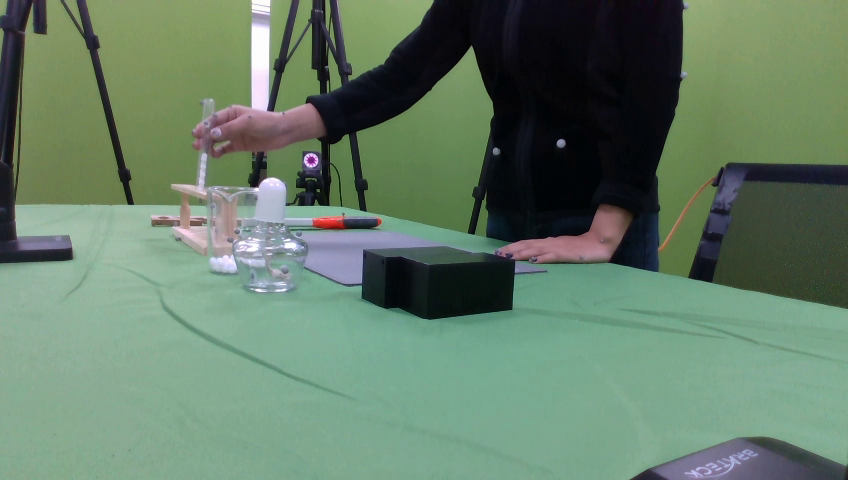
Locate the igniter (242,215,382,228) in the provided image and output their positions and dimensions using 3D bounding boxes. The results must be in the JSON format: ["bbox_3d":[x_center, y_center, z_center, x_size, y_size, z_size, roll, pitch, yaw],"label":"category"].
[{"bbox_3d":[-0.213,-0.036,1.187,0.278,0.025,0.057,-2,-2,-30],"label":"igniter"}]

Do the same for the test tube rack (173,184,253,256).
[{"bbox_3d":[-0.329,-0.036,0.927,0.067,0.085,0.241,-2,9,-32],"label":"test tube rack"}]

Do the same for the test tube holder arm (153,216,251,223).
[{"bbox_3d":[-0.422,-0.039,1.159,0.179,0.015,0.013,-2,44,-31],"label":"test tube holder arm"}]

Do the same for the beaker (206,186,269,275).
[{"bbox_3d":[-0.220,-0.011,0.717,0.074,0.100,0.084,2,8,-3],"label":"beaker"}]

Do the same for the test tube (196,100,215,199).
[{"bbox_3d":[-0.328,-0.136,0.909,0.017,0.150,0.017,4,-4,1],"label":"test tube"}]

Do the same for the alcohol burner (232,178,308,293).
[{"bbox_3d":[-0.161,-0.006,0.632,0.078,0.119,0.078,1,8,0],"label":"alcohol burner"}]

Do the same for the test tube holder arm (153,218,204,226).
[{"bbox_3d":[-0.459,-0.034,1.132,0.088,0.015,0.010,-1,43,-30],"label":"test tube holder arm"}]

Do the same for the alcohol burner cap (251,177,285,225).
[{"bbox_3d":[-0.160,-0.041,0.628,0.034,0.048,0.034,9,6,-1],"label":"alcohol burner cap"}]
